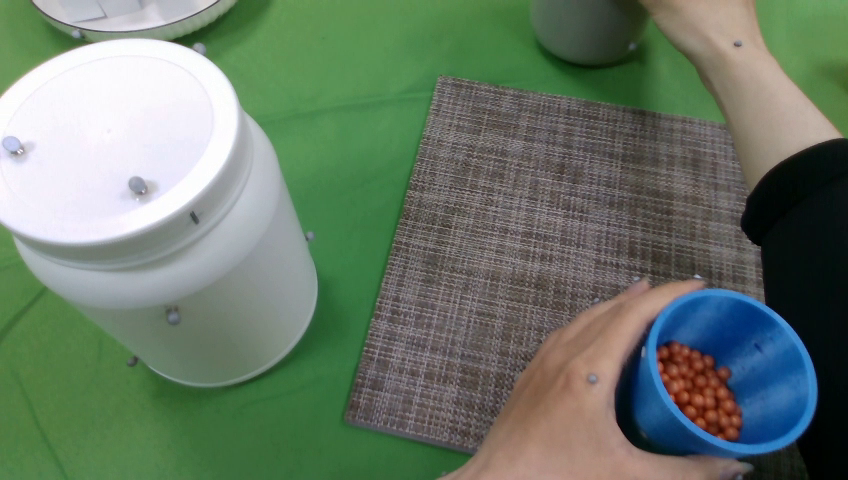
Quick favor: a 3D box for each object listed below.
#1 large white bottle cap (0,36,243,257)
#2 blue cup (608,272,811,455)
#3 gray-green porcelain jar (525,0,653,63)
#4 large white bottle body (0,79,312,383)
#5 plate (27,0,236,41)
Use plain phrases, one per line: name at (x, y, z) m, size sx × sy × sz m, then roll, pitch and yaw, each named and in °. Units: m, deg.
large white bottle cap at (-0.141, -0.046, 0.272) m, size 0.115 × 0.018 × 0.114 m, roll 1°, pitch 61°, yaw -1°
blue cup at (0.150, 0.084, 0.349) m, size 0.093 × 0.101 × 0.092 m, roll 1°, pitch 63°, yaw -2°
gray-green porcelain jar at (0.142, -0.222, 0.503) m, size 0.106 × 0.127 × 0.105 m, roll 0°, pitch 61°, yaw -1°
large white bottle body at (-0.141, -0.004, 0.346) m, size 0.131 × 0.186 × 0.129 m, roll 1°, pitch 62°, yaw -1°
plate at (-0.257, -0.253, 0.560) m, size 0.208 × 0.039 × 0.206 m, roll 1°, pitch 62°, yaw -1°
